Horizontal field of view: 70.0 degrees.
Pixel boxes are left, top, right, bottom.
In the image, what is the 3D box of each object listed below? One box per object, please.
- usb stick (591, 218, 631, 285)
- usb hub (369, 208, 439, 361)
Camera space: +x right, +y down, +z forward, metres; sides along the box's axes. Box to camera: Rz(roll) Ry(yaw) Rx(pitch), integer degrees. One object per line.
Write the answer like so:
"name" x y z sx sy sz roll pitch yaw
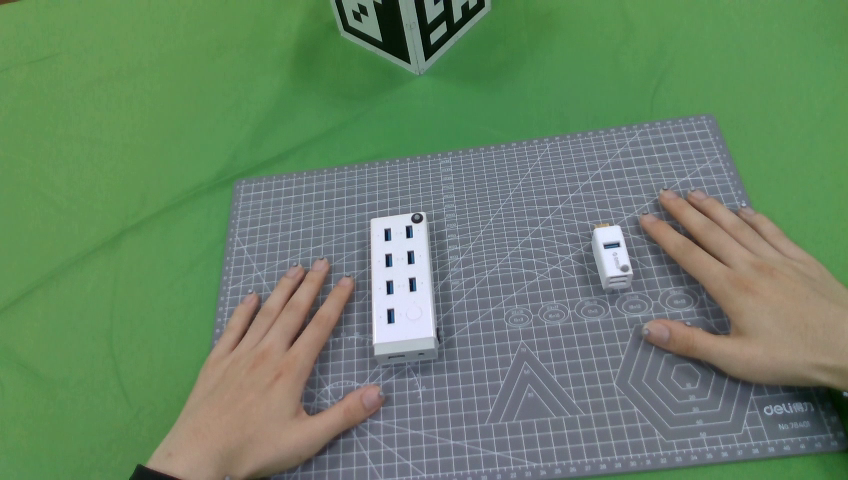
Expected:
"usb stick" 0.146 0.004 0.478 0.021 0.027 0.058 -8 56 7
"usb hub" -0.017 0.033 0.488 0.049 0.025 0.124 -7 59 4
